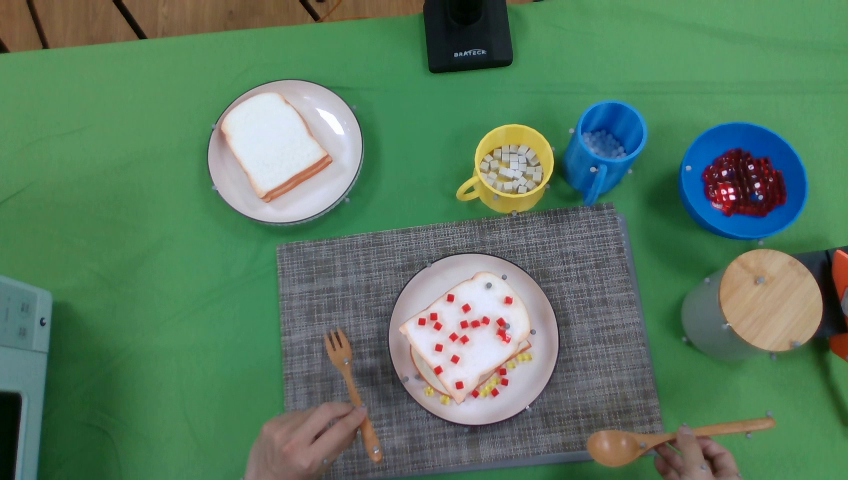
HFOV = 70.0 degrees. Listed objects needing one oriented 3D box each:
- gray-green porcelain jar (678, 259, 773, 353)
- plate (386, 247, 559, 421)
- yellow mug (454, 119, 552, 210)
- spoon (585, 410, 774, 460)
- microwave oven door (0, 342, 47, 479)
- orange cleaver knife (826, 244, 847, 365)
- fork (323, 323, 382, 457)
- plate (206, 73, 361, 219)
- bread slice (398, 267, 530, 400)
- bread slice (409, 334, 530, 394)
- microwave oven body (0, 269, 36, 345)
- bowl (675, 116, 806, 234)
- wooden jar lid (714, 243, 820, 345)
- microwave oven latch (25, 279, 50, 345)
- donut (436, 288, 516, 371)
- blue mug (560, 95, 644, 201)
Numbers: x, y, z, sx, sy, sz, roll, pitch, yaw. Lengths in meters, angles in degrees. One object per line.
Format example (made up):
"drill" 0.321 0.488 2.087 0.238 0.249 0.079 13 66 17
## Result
"gray-green porcelain jar" 0.361 0.075 0.698 0.106 0.127 0.105 0 75 2
"plate" 0.058 0.112 0.740 0.209 0.038 0.208 0 75 2
"yellow mug" 0.097 -0.090 0.782 0.131 0.064 0.099 -27 75 -4
"spoon" 0.268 0.200 0.638 0.193 0.022 0.041 -13 43 11
"microwave oven door" -0.475 0.273 0.594 0.039 0.245 0.353 -5 74 1
"orange cleaver knife" 0.494 0.111 0.706 0.012 0.077 0.212 -8 101 1
"fork" -0.081 0.162 0.683 0.028 0.019 0.205 -25 35 -7
"plate" -0.186 -0.123 0.815 0.207 0.039 0.206 0 75 2
"bread slice" 0.051 0.095 0.684 0.134 0.018 0.106 -40 83 -14
"bread slice" 0.050 0.123 0.740 0.131 0.019 0.104 -38 75 -10
"microwave oven body" -0.623 0.246 0.611 0.326 0.261 0.439 -5 75 0
"bowl" 0.382 -0.070 0.761 0.151 0.077 0.150 0 75 2
"wooden jar lid" 0.358 0.057 0.637 0.108 0.021 0.108 0 77 0
"microwave oven latch" -0.485 0.090 0.748 0.030 0.029 0.078 -2 75 1
"donut" 0.062 0.105 0.713 0.099 0.048 0.098 5 71 -15
"blue mug" 0.217 -0.106 0.762 0.082 0.106 0.116 14 76 6
